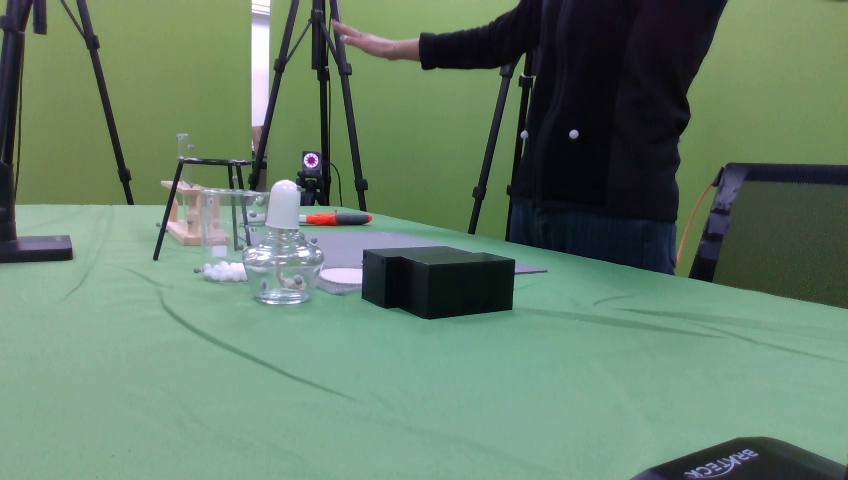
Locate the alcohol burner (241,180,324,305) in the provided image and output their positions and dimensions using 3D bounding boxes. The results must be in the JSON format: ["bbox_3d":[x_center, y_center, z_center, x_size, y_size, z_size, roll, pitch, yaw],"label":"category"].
[{"bbox_3d":[-0.136,0.002,0.583,0.078,0.119,0.078,1,8,0],"label":"alcohol burner"}]

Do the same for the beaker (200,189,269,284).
[{"bbox_3d":[-0.209,-0.006,0.676,0.073,0.100,0.084,7,8,28],"label":"beaker"}]

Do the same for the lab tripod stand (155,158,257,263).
[{"bbox_3d":[-0.275,-0.041,0.797,0.148,0.131,0.148,2,9,0],"label":"lab tripod stand"}]

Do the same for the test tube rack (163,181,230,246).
[{"bbox_3d":[-0.387,-0.050,1.015,0.067,0.085,0.241,-2,9,-30],"label":"test tube rack"}]

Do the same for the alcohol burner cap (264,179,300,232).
[{"bbox_3d":[-0.134,-0.034,0.579,0.034,0.048,0.034,9,10,-1],"label":"alcohol burner cap"}]

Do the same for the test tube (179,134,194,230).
[{"bbox_3d":[-0.366,-0.089,0.938,0.017,0.150,0.017,-1,9,1],"label":"test tube"}]

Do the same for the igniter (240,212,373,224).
[{"bbox_3d":[-0.237,-0.045,1.250,0.278,0.025,0.057,-2,-2,-31],"label":"igniter"}]

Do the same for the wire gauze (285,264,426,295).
[{"bbox_3d":[-0.079,0.039,0.692,0.122,0.011,0.124,-4,11,-37],"label":"wire gauze"}]
